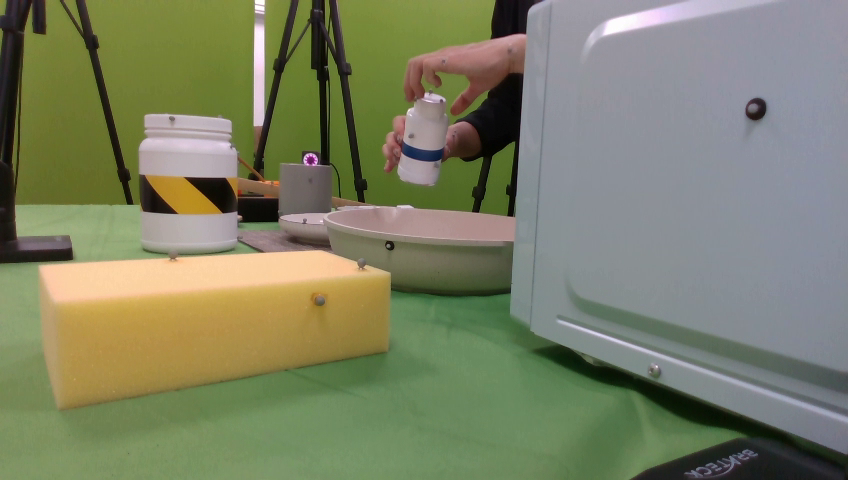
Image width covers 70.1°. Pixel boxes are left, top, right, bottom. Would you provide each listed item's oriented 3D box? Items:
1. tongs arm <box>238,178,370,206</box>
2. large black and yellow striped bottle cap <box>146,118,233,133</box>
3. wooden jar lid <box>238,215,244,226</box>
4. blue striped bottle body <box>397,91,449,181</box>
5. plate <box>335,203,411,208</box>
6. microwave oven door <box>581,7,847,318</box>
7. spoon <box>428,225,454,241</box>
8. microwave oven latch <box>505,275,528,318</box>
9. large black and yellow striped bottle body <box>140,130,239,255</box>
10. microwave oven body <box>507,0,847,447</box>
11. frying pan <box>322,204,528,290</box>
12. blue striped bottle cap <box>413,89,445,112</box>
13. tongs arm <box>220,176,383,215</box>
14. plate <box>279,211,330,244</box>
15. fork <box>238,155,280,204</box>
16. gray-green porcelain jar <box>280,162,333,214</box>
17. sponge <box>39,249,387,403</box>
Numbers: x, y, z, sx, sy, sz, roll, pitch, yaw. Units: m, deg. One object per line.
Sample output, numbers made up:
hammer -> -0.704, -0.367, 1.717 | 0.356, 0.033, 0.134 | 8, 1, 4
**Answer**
tongs arm -> -0.241, -0.095, 1.373 | 0.387, 0.026, 0.050 | 9, 0, -37
large black and yellow striped bottle cap -> -0.333, -0.163, 0.861 | 0.115, 0.019, 0.115 | 1, 9, 0
wooden jar lid -> -0.404, -0.037, 1.169 | 0.108, 0.020, 0.108 | 3, 7, 0
blue striped bottle body -> -0.001, -0.151, 0.868 | 0.063, 0.121, 0.063 | 8, 30, -5
plate -> -0.089, -0.053, 1.309 | 0.208, 0.039, 0.207 | 2, 8, 0
microwave oven door -> 0.295, -0.067, 0.569 | 0.358, 0.243, 0.039 | -3, 8, -31
spoon -> 0.024, -0.018, 1.125 | 0.042, 0.021, 0.193 | -18, 10, -4
microwave oven latch -> 0.100, 0.041, 0.473 | 0.079, 0.029, 0.030 | -2, 8, -31
large black and yellow striped bottle body -> -0.336, -0.078, 0.872 | 0.131, 0.184, 0.130 | 2, 8, 0
microwave oven body -> 0.331, -0.042, 0.425 | 0.444, 0.260, 0.324 | -2, 8, -31
frying pan -> 0.110, -0.018, 0.800 | 0.490, 0.102, 0.305 | -12, 16, -30
blue striped bottle cap -> 0.008, -0.195, 0.842 | 0.044, 0.020, 0.044 | 6, 29, -3
tongs arm -> -0.285, -0.104, 1.445 | 0.389, 0.027, 0.028 | 9, -4, -23
plate -> -0.139, -0.022, 1.021 | 0.209, 0.038, 0.209 | 2, 8, 0
fork -> -0.396, -0.143, 1.486 | 0.028, 0.018, 0.208 | 20, -26, 45
gray-green porcelain jar -> -0.238, -0.092, 1.221 | 0.106, 0.126, 0.106 | 2, 7, 0
sponge -> -0.142, 0.047, 0.419 | 0.208, 0.061, 0.117 | -3, 8, -37
